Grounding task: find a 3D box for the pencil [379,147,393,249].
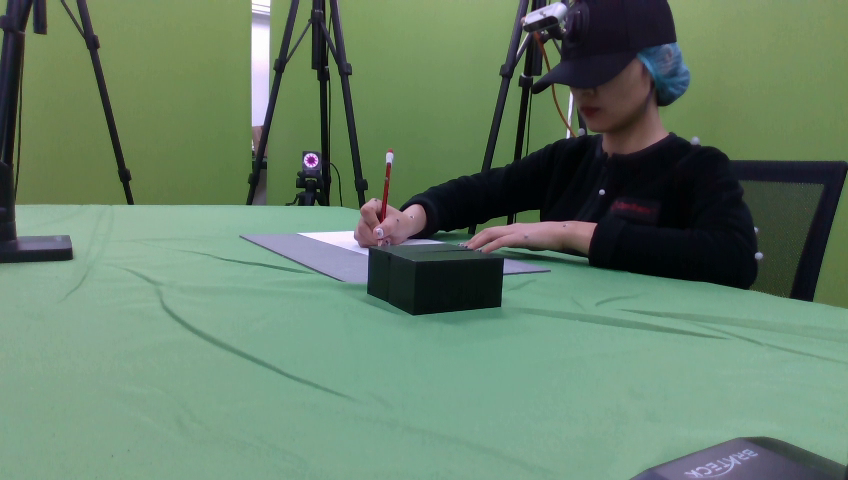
[{"bbox_3d":[-0.061,-0.069,0.954,0.012,0.193,0.012,2,-31,2],"label":"pencil"}]
